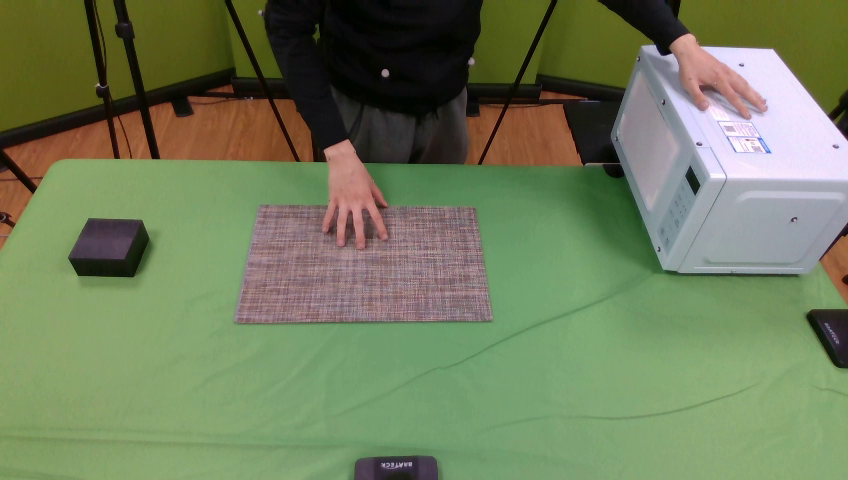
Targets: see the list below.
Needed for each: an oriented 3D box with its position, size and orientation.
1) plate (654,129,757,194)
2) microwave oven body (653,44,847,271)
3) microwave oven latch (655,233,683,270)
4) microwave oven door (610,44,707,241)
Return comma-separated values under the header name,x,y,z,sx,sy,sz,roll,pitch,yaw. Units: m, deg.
name,x,y,z,sx,sy,sz,roll,pitch,yaw
plate,0.600,-0.165,1.305,0.209,0.038,0.208,0,46,0
microwave oven body,0.620,-0.172,1.234,0.326,0.261,0.439,0,46,-3
microwave oven latch,0.473,0.021,1.175,0.030,0.029,0.078,2,46,-1
microwave oven door,0.474,-0.208,1.250,0.039,0.245,0.353,0,47,-3
